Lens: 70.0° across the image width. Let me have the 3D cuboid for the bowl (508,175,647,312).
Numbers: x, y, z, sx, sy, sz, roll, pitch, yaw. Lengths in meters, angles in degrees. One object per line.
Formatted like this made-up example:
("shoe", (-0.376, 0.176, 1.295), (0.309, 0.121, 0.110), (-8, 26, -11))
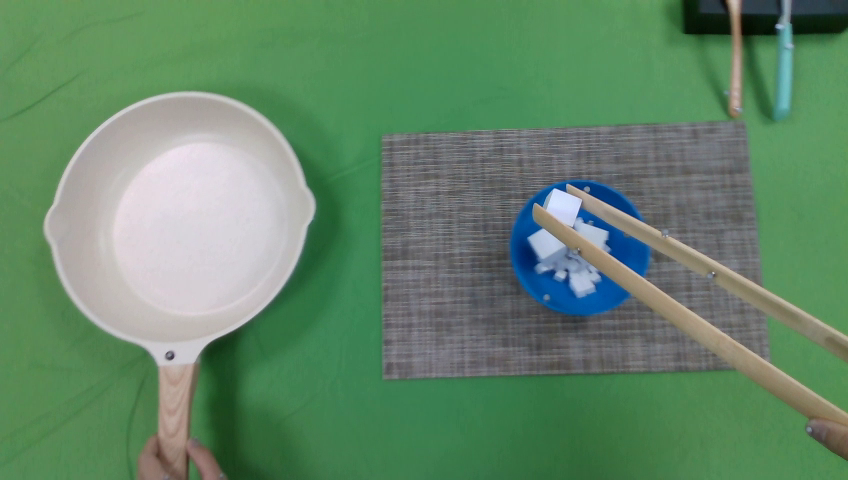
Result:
("bowl", (0.167, 0.009, 0.689), (0.151, 0.077, 0.151), (0, 81, 2))

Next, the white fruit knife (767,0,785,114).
("white fruit knife", (0.420, -0.257, 0.723), (0.016, 0.027, 0.208), (-3, 97, 7))

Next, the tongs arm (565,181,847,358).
("tongs arm", (0.244, 0.046, 0.485), (0.051, 0.027, 0.380), (-35, 46, -19))

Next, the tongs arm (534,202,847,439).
("tongs arm", (0.221, 0.061, 0.477), (0.028, 0.028, 0.383), (-31, 45, -20))

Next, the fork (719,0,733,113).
("fork", (0.361, -0.258, 0.726), (0.028, 0.018, 0.208), (-10, 101, -4))

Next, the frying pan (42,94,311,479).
("frying pan", (-0.273, 0.076, 0.682), (0.307, 0.103, 0.484), (-4, 72, 2))
